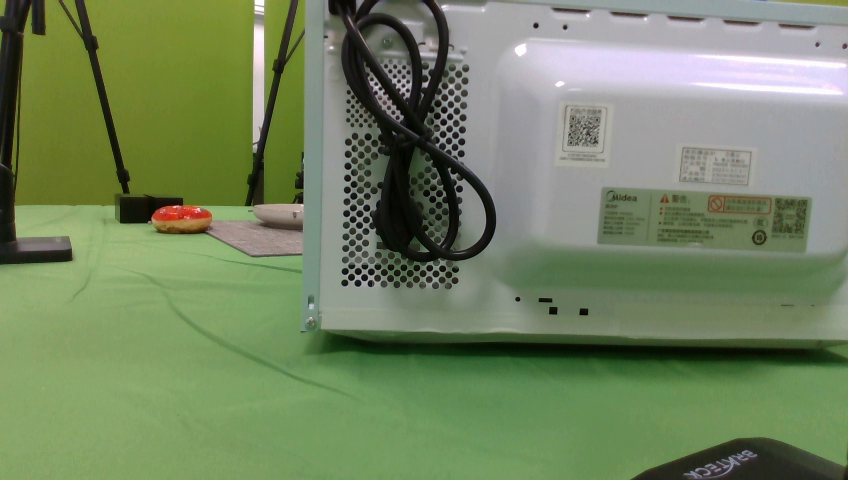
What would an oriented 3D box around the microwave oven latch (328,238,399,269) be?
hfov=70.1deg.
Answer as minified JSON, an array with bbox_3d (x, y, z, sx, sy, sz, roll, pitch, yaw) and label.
[{"bbox_3d":[-0.069,0.015,0.694,0.079,0.029,0.030,3,6,-3],"label":"microwave oven latch"}]

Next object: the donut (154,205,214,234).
[{"bbox_3d":[-0.426,-0.037,1.075,0.099,0.048,0.099,2,12,0],"label":"donut"}]

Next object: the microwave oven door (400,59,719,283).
[{"bbox_3d":[0.155,-0.078,0.706,0.356,0.243,0.039,2,8,-2],"label":"microwave oven door"}]

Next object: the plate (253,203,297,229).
[{"bbox_3d":[-0.238,-0.047,1.226,0.208,0.039,0.207,3,7,0],"label":"plate"}]

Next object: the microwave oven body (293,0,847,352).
[{"bbox_3d":[0.122,-0.055,0.549,0.442,0.260,0.325,3,6,-4],"label":"microwave oven body"}]

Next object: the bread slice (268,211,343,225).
[{"bbox_3d":[-0.244,-0.046,1.220,0.104,0.019,0.132,7,8,36],"label":"bread slice"}]
